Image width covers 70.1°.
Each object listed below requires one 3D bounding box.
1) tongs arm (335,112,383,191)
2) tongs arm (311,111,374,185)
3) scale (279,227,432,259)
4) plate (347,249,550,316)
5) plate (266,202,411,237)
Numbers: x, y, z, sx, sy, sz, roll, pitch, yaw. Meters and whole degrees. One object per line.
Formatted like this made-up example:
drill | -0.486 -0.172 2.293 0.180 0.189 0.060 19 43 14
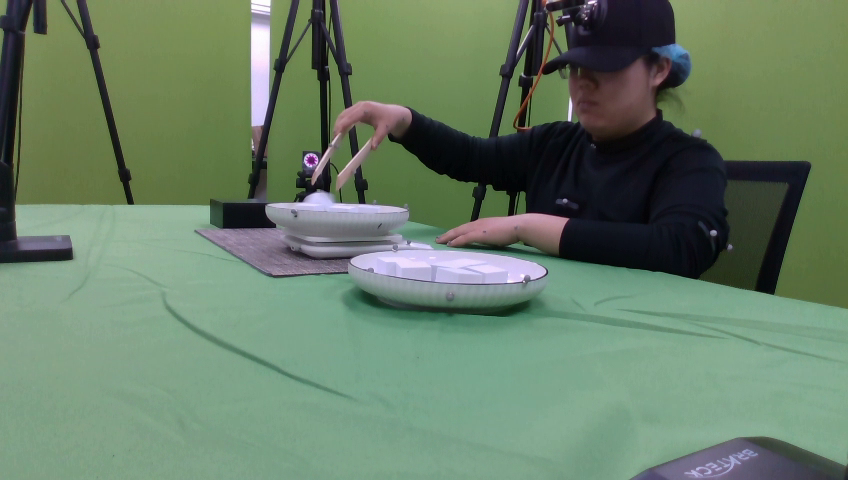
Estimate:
tongs arm | -0.113 -0.168 1.084 0.028 0.028 0.387 9 26 2
tongs arm | -0.138 -0.174 1.084 0.051 0.026 0.384 11 26 -3
scale | -0.100 0.001 0.899 0.202 0.031 0.148 -1 9 -31
plate | 0.025 0.042 0.627 0.209 0.038 0.209 2 7 0
plate | -0.123 -0.030 0.879 0.208 0.039 0.207 2 6 0
